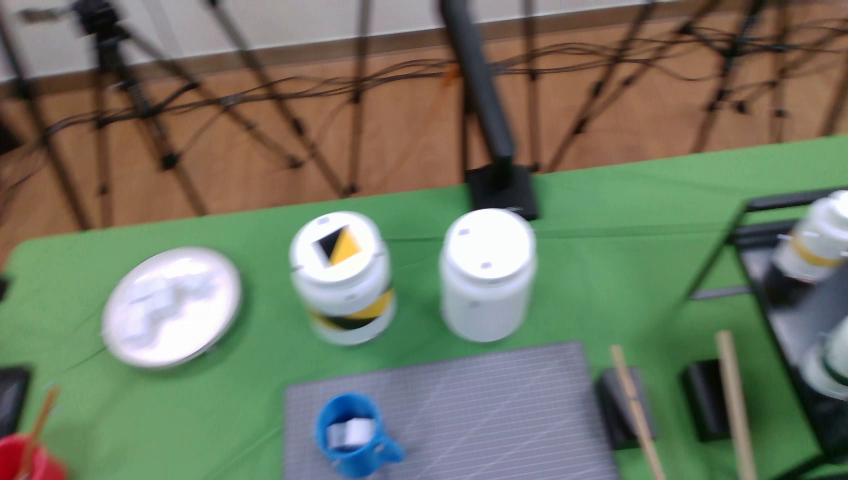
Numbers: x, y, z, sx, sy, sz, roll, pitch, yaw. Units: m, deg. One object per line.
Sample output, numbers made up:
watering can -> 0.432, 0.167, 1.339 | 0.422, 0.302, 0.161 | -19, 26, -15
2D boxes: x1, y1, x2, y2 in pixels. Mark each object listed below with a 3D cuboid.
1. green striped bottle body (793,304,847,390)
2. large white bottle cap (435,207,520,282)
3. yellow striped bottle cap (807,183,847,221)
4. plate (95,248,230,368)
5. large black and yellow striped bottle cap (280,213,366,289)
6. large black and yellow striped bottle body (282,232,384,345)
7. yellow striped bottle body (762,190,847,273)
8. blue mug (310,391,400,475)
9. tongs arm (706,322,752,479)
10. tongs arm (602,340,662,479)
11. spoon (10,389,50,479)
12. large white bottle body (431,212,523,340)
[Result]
green striped bottle body -> 0.456, 0.112, 0.652 | 0.063, 0.120, 0.062 | -1, 56, 3
large white bottle cap -> 0.071, 0.004, 0.818 | 0.115, 0.018, 0.113 | -1, 56, 2
yellow striped bottle cap -> 0.464, -0.044, 0.690 | 0.044, 0.019, 0.044 | 0, 56, 0
plate -> -0.409, 0.109, 0.964 | 0.207, 0.039, 0.205 | -1, 57, 2
large black and yellow striped bottle cap -> -0.137, 0.013, 0.825 | 0.115, 0.019, 0.114 | -1, 57, 1
large black and yellow striped bottle body -> -0.132, 0.061, 0.894 | 0.131, 0.185, 0.129 | -1, 56, 2
yellow striped bottle body -> 0.466, -0.015, 0.734 | 0.063, 0.121, 0.062 | -1, 56, 2
blue mug -> -0.085, 0.263, 0.803 | 0.116, 0.107, 0.082 | 17, 59, 13
tongs arm -> 0.394, 0.293, 0.764 | 0.028, 0.028, 0.384 | 2, 68, -6
tongs arm -> 0.313, 0.305, 0.758 | 0.051, 0.027, 0.381 | -12, 69, -8
spoon -> -0.522, 0.279, 0.795 | 0.041, 0.022, 0.194 | 31, 107, 24
large white bottle body -> 0.076, 0.052, 0.888 | 0.130, 0.186, 0.129 | -1, 57, 2
